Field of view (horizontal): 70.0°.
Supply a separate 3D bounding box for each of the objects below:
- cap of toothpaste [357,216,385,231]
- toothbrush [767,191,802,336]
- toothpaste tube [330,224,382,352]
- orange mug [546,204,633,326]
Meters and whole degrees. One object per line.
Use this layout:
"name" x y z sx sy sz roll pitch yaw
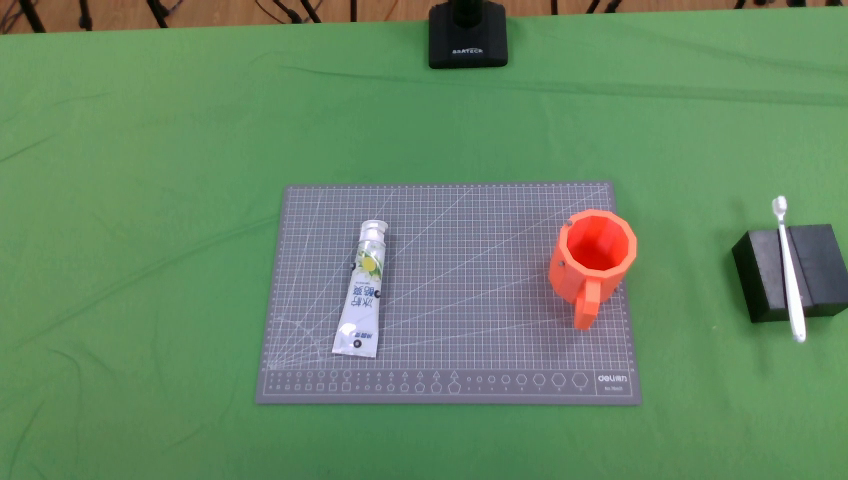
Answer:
"cap of toothpaste" -0.069 -0.020 0.785 0.037 0.037 0.011 -4 64 1
"toothbrush" 0.418 0.023 0.701 0.014 0.017 0.180 5 66 2
"toothpaste tube" -0.080 0.056 0.758 0.055 0.035 0.164 3 69 10
"orange mug" 0.191 0.033 0.714 0.083 0.101 0.125 7 61 7
